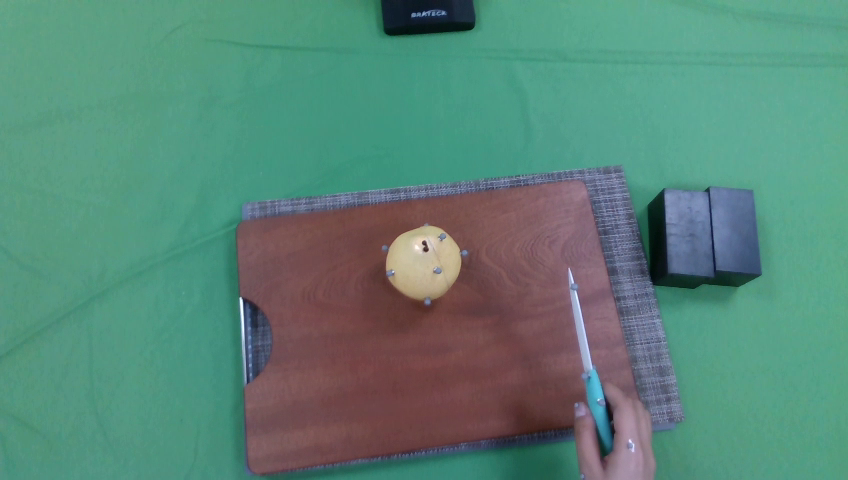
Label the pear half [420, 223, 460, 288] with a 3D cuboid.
[{"bbox_3d":[0.019,0.010,0.622,0.031,0.088,0.070,-28,70,-10],"label":"pear half"}]

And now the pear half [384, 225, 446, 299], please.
[{"bbox_3d":[-0.012,0.022,0.607,0.056,0.110,0.076,-28,71,-10],"label":"pear half"}]

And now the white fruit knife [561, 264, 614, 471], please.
[{"bbox_3d":[0.146,0.120,0.546,0.016,0.027,0.208,-16,102,-6],"label":"white fruit knife"}]
